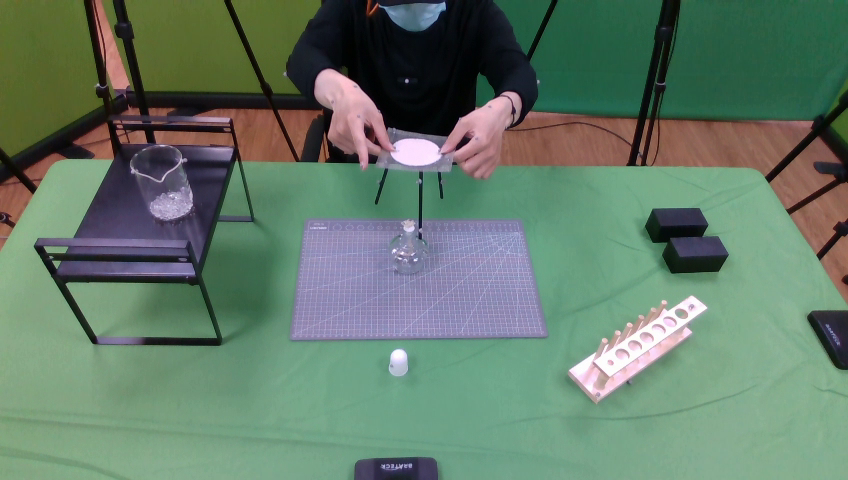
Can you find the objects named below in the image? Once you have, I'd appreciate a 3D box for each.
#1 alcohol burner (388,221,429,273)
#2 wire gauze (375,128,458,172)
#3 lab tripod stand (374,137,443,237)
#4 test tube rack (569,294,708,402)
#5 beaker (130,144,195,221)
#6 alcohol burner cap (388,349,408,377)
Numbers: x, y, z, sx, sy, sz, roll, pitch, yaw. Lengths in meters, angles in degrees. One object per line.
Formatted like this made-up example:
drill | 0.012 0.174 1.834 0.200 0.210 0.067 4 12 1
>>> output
alcohol burner | -0.028 0.006 1.118 0.078 0.119 0.077 2 48 -2
wire gauze | -0.010 -0.147 0.991 0.121 0.011 0.124 8 38 3
lab tripod stand | -0.015 -0.101 1.040 0.148 0.132 0.147 3 40 -2
test tube rack | 0.360 0.167 1.014 0.242 0.085 0.066 -25 53 -25
beaker | -0.403 -0.085 0.944 0.074 0.101 0.083 -15 50 -17
alcohol burner cap | -0.042 0.197 0.989 0.034 0.048 0.033 3 46 -2
